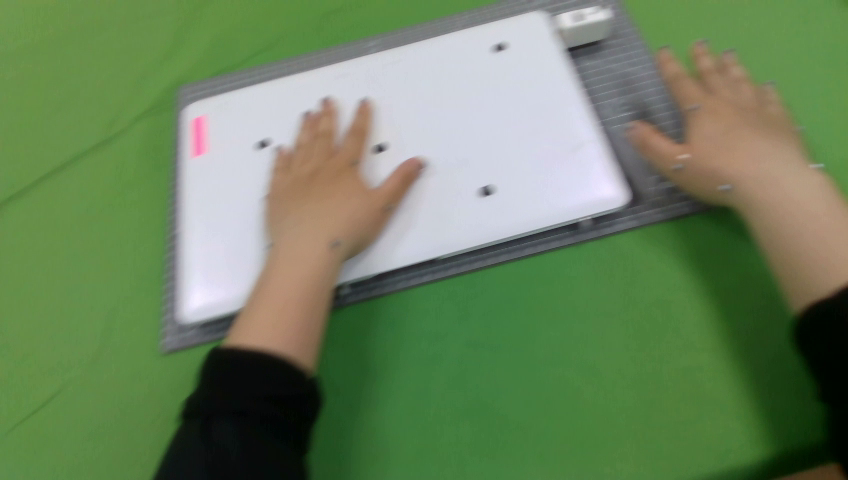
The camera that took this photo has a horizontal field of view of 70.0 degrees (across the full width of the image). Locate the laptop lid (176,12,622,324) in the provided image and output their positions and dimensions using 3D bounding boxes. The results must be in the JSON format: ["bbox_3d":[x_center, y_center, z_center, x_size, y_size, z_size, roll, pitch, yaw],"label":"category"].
[{"bbox_3d":[-0.041,-0.076,0.515,0.357,0.013,0.239,-14,59,1],"label":"laptop lid"}]

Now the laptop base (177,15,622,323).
[{"bbox_3d":[-0.040,-0.073,0.525,0.354,0.023,0.233,-15,60,0],"label":"laptop base"}]

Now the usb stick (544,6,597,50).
[{"bbox_3d":[0.128,-0.193,0.557,0.059,0.027,0.021,-16,56,4],"label":"usb stick"}]
